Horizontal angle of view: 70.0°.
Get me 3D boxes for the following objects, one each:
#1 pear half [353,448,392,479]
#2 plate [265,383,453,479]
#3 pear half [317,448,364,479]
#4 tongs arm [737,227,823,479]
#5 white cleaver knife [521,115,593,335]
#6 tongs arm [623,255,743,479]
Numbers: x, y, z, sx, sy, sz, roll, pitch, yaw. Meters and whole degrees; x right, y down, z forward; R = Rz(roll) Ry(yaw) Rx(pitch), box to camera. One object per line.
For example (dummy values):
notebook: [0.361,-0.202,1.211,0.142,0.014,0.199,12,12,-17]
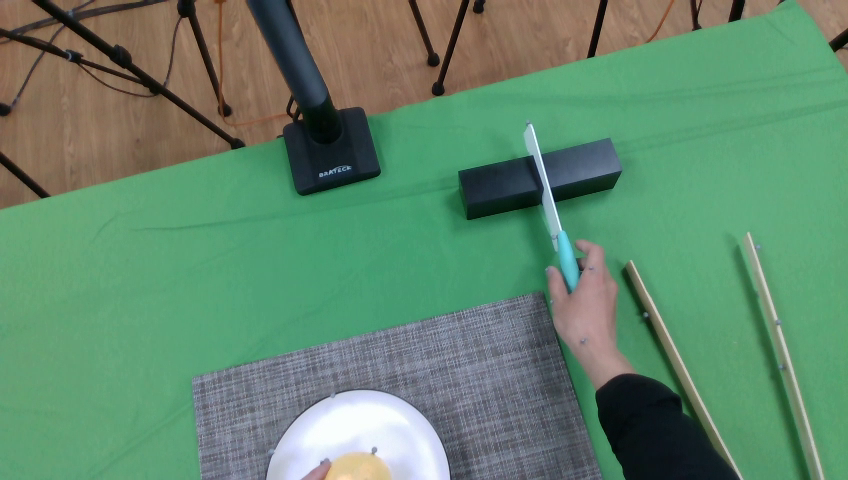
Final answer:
pear half: [-0.051,0.257,0.646,0.031,0.088,0.070,-11,67,3]
plate: [-0.071,0.268,0.682,0.207,0.039,0.206,-1,69,3]
pear half: [-0.088,0.259,0.638,0.056,0.110,0.075,-10,65,1]
tongs arm: [0.403,0.169,0.698,0.051,0.027,0.382,-9,70,1]
white cleaver knife: [0.165,-0.022,0.763,0.021,0.066,0.285,-13,79,3]
tongs arm: [0.325,0.188,0.700,0.028,0.028,0.384,-20,70,-6]
